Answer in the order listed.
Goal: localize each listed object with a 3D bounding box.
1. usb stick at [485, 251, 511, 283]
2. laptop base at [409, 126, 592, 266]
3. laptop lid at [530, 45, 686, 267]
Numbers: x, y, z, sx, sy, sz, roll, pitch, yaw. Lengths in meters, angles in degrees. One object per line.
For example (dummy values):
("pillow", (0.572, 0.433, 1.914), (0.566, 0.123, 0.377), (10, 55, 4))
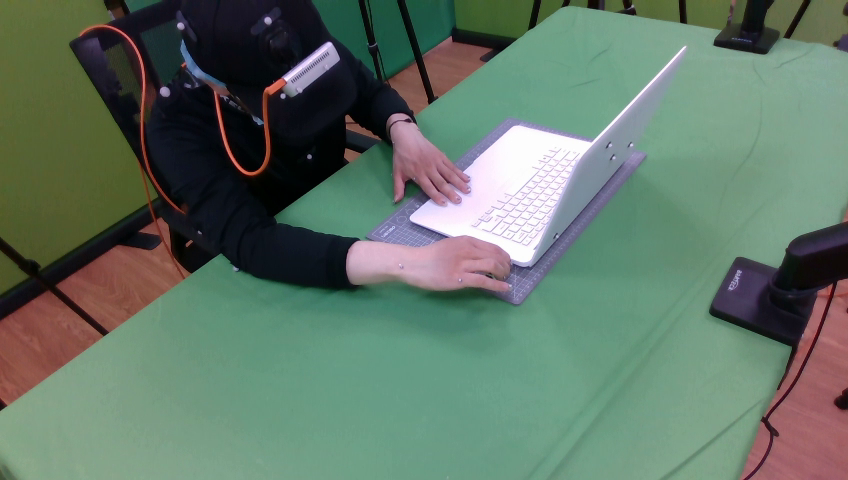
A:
("usb stick", (0.112, 0.036, 0.892), (0.021, 0.027, 0.059), (19, 38, 27))
("laptop base", (0.169, -0.092, 1.055), (0.233, 0.023, 0.355), (20, 47, 33))
("laptop lid", (0.278, -0.127, 0.904), (0.013, 0.242, 0.358), (35, 52, 17))
